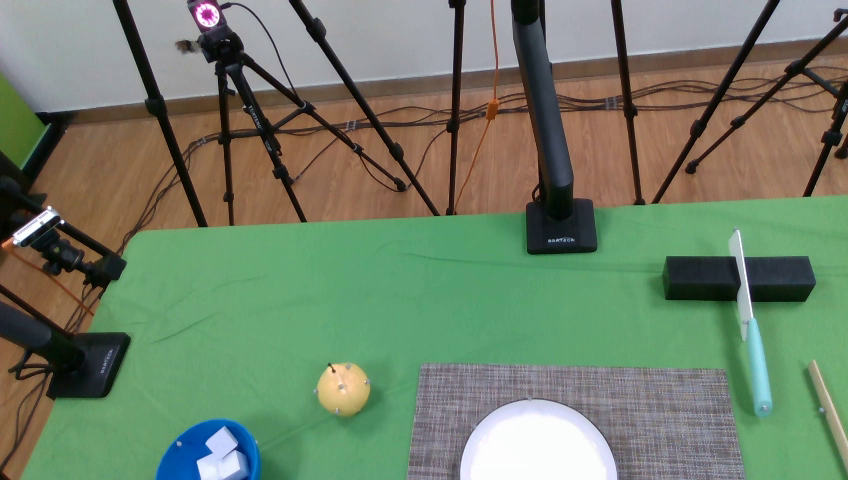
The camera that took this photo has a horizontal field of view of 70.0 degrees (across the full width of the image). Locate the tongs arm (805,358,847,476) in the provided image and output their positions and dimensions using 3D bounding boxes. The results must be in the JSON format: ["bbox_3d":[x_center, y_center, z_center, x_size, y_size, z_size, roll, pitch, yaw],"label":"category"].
[{"bbox_3d":[0.548,0.321,0.735,0.028,0.028,0.383,-6,52,6],"label":"tongs arm"}]

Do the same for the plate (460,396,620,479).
[{"bbox_3d":[0.154,0.315,0.814,0.207,0.039,0.205,-6,52,8],"label":"plate"}]

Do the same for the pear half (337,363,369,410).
[{"bbox_3d":[-0.103,0.215,0.918,0.031,0.089,0.069,-22,42,-5],"label":"pear half"}]

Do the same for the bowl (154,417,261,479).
[{"bbox_3d":[-0.297,0.341,0.869,0.151,0.077,0.150,-6,52,8],"label":"bowl"}]

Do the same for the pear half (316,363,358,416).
[{"bbox_3d":[-0.138,0.220,0.908,0.056,0.111,0.075,-23,41,-6],"label":"pear half"}]

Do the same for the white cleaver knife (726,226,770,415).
[{"bbox_3d":[0.471,0.111,0.885,0.021,0.066,0.284,-2,62,16],"label":"white cleaver knife"}]
